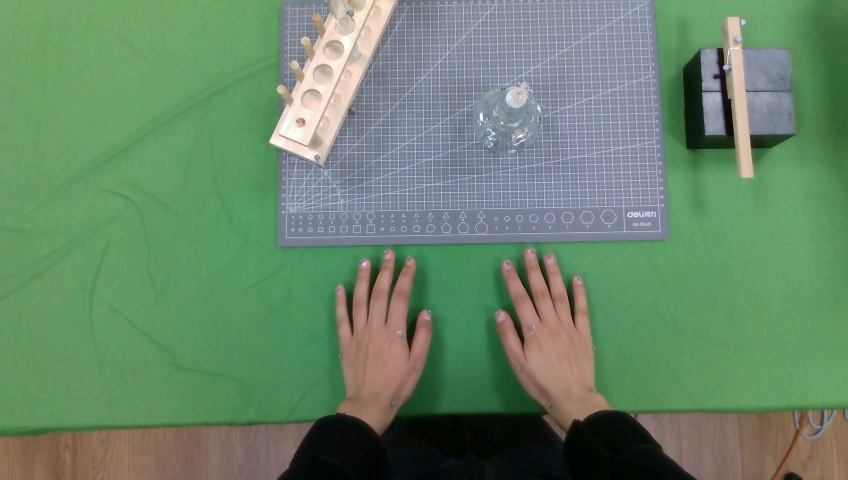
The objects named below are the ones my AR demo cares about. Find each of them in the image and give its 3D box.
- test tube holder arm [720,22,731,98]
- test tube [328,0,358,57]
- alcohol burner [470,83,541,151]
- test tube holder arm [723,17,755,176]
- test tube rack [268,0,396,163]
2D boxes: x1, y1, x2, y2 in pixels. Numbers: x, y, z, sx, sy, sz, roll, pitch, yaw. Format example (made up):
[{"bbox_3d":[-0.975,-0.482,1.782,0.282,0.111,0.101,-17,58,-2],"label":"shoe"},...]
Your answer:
[{"bbox_3d":[0.338,-0.199,0.665,0.015,0.010,0.087,-3,79,11],"label":"test tube holder arm"},{"bbox_3d":[-0.084,-0.227,0.633,0.017,0.150,0.017,0,84,0],"label":"test tube"},{"bbox_3d":[0.090,-0.139,0.656,0.078,0.119,0.077,0,82,-1],"label":"alcohol burner"},{"bbox_3d":[0.338,-0.156,0.651,0.015,0.013,0.177,-3,79,11],"label":"test tube holder arm"},{"bbox_3d":[-0.104,-0.218,0.682,0.066,0.085,0.242,23,84,4],"label":"test tube rack"}]
